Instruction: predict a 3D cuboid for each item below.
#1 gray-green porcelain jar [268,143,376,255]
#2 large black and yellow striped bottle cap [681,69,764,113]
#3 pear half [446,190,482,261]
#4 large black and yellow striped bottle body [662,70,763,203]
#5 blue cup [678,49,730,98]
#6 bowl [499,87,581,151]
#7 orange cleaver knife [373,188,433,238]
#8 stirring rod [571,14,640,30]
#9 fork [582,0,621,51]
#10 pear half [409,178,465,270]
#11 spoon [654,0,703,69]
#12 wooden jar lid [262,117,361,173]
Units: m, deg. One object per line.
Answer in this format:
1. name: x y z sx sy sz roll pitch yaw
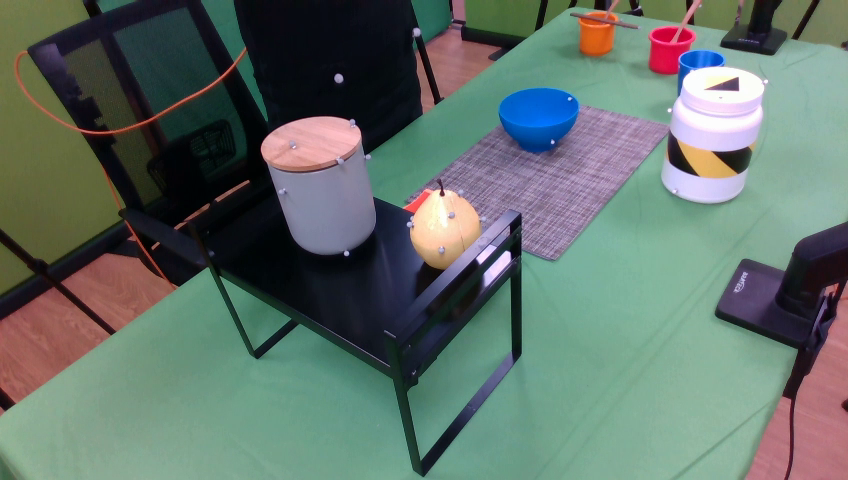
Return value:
1. gray-green porcelain jar: -0.114 -0.055 0.704 0.106 0.127 0.105 -4 40 4
2. large black and yellow striped bottle cap: 0.453 -0.229 0.921 0.115 0.019 0.114 -4 39 4
3. pear half: 0.046 -0.020 0.665 0.031 0.088 0.070 -17 38 -8
4. large black and yellow striped bottle body: 0.464 -0.166 0.976 0.131 0.185 0.130 -5 41 5
5. blue cup: 0.542 -0.310 1.194 0.092 0.101 0.092 -6 41 6
6. bowl: 0.220 -0.223 1.156 0.151 0.077 0.150 -4 40 4
7. orange cleaver knife: -0.023 -0.030 0.959 0.210 0.077 0.012 -16 24 52
8. stirring rod: 0.418 -0.508 1.404 0.174 0.006 0.014 28 55 35
9. fork: 0.446 -0.539 1.438 0.207 0.019 0.028 -57 36 12
10. pear half: 0.010 -0.019 0.654 0.056 0.110 0.076 -17 37 -9
11. spoon: 0.569 -0.462 1.335 0.041 0.022 0.193 34 99 37
12. wooden jar lid: -0.122 -0.101 0.663 0.108 0.021 0.108 -3 39 3
